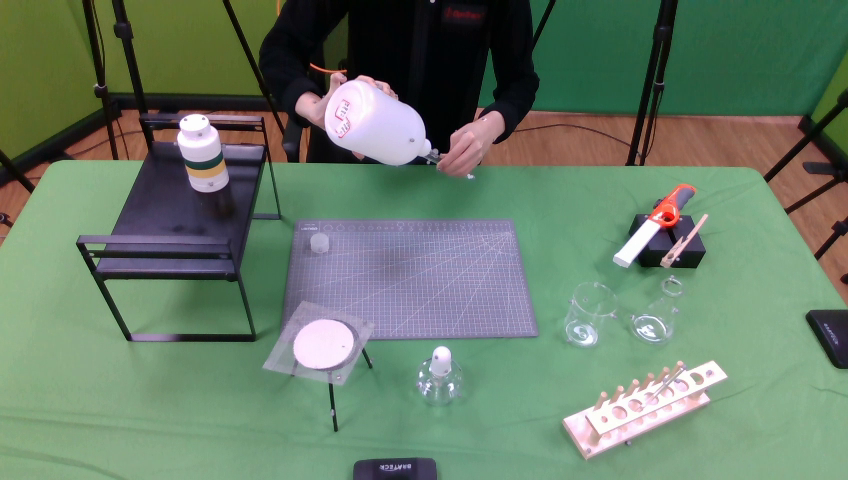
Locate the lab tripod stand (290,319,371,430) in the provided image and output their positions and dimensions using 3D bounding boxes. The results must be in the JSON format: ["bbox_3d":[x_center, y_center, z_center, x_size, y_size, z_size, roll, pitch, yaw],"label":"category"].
[{"bbox_3d":[-0.146,0.193,0.923,0.148,0.132,0.147,1,47,-1],"label":"lab tripod stand"}]

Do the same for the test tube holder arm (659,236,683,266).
[{"bbox_3d":[0.472,0.020,1.149,0.010,0.015,0.088,35,54,27],"label":"test tube holder arm"}]

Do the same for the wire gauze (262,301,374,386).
[{"bbox_3d":[-0.150,0.148,0.873,0.121,0.011,0.124,14,46,12],"label":"wire gauze"}]

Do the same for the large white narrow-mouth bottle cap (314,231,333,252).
[{"bbox_3d":[-0.195,0.003,1.178,0.038,0.024,0.037,2,45,-2],"label":"large white narrow-mouth bottle cap"}]

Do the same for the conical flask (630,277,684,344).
[{"bbox_3d":[0.409,0.117,1.045,0.075,0.122,0.075,2,46,-2],"label":"conical flask"}]

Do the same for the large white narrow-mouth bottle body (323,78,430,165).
[{"bbox_3d":[-0.060,-0.175,0.963,0.195,0.102,0.101,17,28,-49],"label":"large white narrow-mouth bottle body"}]

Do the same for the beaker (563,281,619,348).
[{"bbox_3d":[0.283,0.129,1.041,0.074,0.101,0.083,11,46,6],"label":"beaker"}]

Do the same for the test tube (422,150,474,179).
[{"bbox_3d":[0.044,-0.137,1.093,0.151,0.017,0.017,17,28,-49],"label":"test tube"}]

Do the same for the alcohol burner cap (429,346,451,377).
[{"bbox_3d":[0.026,0.180,0.912,0.034,0.048,0.033,1,47,-1],"label":"alcohol burner cap"}]

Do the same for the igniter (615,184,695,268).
[{"bbox_3d":[0.459,-0.035,1.197,0.057,0.025,0.276,33,55,27],"label":"igniter"}]

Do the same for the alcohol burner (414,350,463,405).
[{"bbox_3d":[0.023,0.205,0.939,0.078,0.120,0.077,1,48,-1],"label":"alcohol burner"}]

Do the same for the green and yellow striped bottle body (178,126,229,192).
[{"bbox_3d":[-0.361,-0.142,0.989,0.063,0.120,0.063,2,46,-2],"label":"green and yellow striped bottle body"}]

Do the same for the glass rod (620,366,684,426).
[{"bbox_3d":[0.323,0.227,0.866,0.008,0.200,0.008,5,51,-6],"label":"glass rod"}]

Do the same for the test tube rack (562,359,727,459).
[{"bbox_3d":[0.341,0.247,0.940,0.243,0.085,0.066,-16,49,-18],"label":"test tube rack"}]

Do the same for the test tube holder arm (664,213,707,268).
[{"bbox_3d":[0.507,-0.001,1.171,0.013,0.015,0.178,34,54,26],"label":"test tube holder arm"}]

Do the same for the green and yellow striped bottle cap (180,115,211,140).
[{"bbox_3d":[-0.358,-0.177,0.951,0.045,0.020,0.045,2,45,-2],"label":"green and yellow striped bottle cap"}]
